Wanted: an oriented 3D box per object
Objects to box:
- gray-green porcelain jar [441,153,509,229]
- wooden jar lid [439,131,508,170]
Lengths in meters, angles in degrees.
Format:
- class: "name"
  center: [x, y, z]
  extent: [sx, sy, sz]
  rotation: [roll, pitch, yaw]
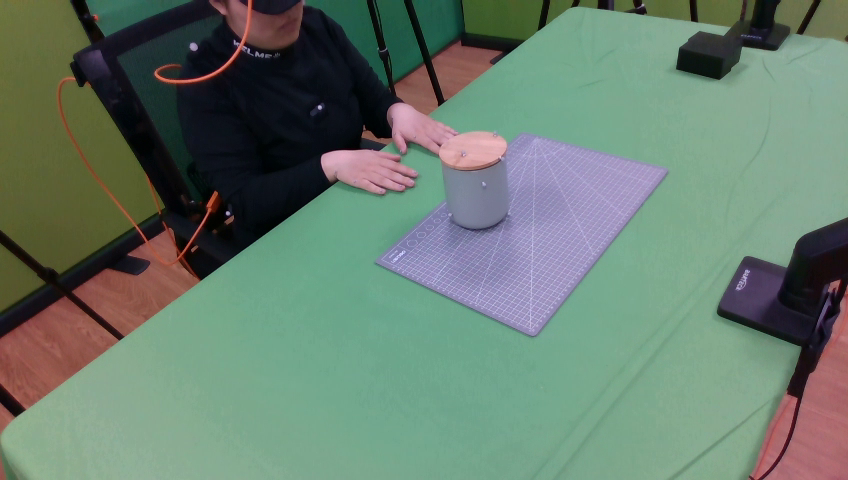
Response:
- class: "gray-green porcelain jar"
  center: [0.086, -0.090, 0.988]
  extent: [0.106, 0.127, 0.105]
  rotation: [-5, 40, 5]
- class: "wooden jar lid"
  center: [0.077, -0.136, 0.948]
  extent: [0.108, 0.021, 0.108]
  rotation: [-5, 38, 5]
